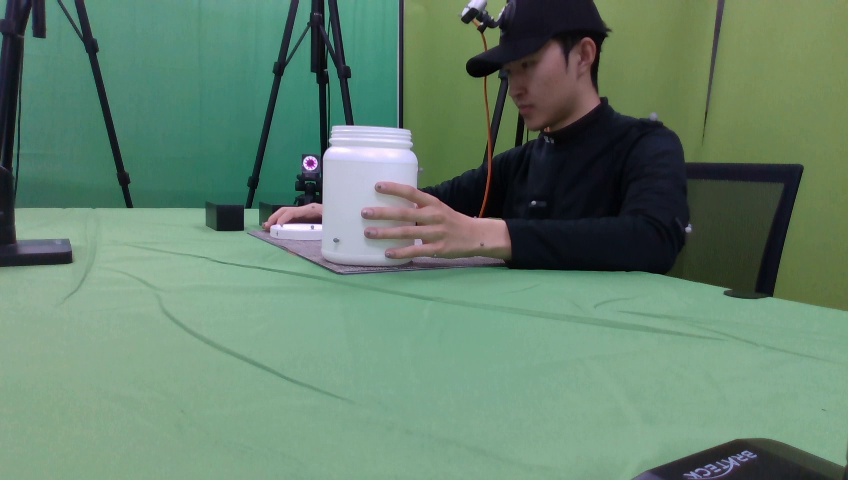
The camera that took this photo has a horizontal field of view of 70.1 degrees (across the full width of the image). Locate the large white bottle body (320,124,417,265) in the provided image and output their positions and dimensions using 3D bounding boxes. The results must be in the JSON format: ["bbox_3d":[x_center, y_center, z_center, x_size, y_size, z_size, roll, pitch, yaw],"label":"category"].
[{"bbox_3d":[-0.076,-0.064,0.836,0.131,0.184,0.130,2,8,0],"label":"large white bottle body"}]

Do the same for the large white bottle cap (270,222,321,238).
[{"bbox_3d":[-0.218,-0.018,1.085,0.115,0.018,0.115,2,7,0],"label":"large white bottle cap"}]
